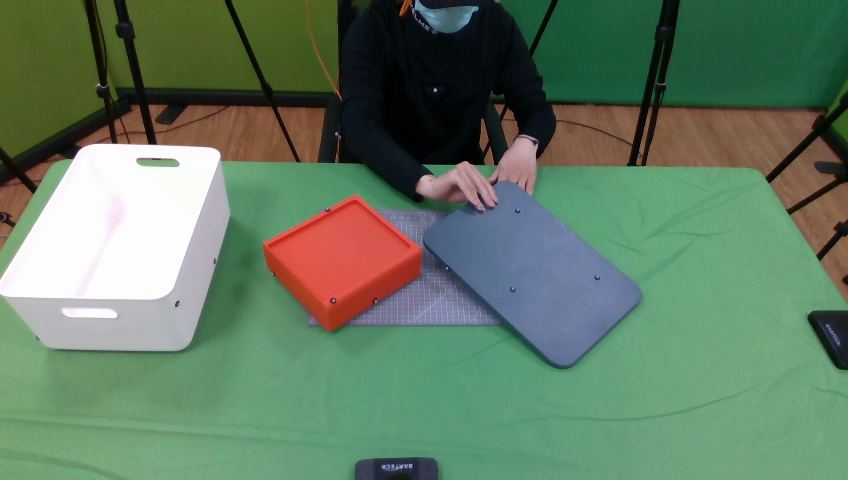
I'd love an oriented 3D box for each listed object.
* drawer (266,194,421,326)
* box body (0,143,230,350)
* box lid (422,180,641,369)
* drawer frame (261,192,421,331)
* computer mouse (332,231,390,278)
[{"bbox_3d":[-0.147,0.031,1.114,0.212,0.073,0.193,-33,57,-29],"label":"drawer"},{"bbox_3d":[-0.502,0.007,1.055,0.254,0.161,0.361,1,46,-3],"label":"box body"},{"bbox_3d":[0.201,0.046,1.144,0.263,0.015,0.370,-34,66,-30],"label":"box lid"},{"bbox_3d":[-0.148,0.032,1.110,0.213,0.083,0.200,-33,57,-29],"label":"drawer frame"},{"bbox_3d":[-0.120,0.022,1.142,0.063,0.041,0.116,-35,51,-27],"label":"computer mouse"}]
